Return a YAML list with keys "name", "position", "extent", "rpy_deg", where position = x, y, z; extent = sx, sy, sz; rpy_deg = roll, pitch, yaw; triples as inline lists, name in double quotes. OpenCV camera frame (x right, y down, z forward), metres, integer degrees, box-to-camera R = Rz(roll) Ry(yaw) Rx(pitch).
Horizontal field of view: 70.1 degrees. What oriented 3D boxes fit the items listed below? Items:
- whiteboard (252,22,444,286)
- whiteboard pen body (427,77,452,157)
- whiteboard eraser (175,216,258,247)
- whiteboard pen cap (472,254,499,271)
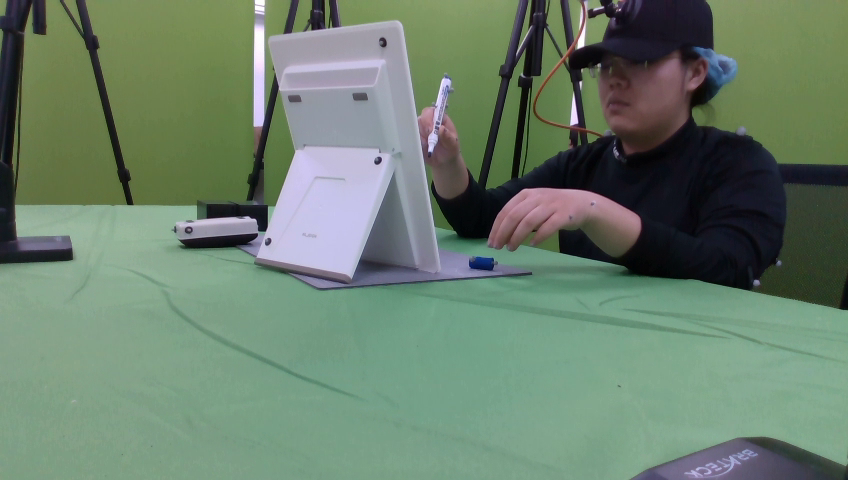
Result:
- name: "whiteboard"
  position: [-0.125, -0.081, 0.714]
  extent: [0.216, 0.305, 0.144]
  rpy_deg: [9, 29, 36]
- name: "whiteboard pen body"
  position: [0.022, -0.185, 0.910]
  extent: [0.017, 0.140, 0.017]
  rpy_deg: [12, -20, 5]
- name: "whiteboard eraser"
  position: [-0.313, -0.012, 0.914]
  extent: [0.113, 0.042, 0.055]
  rpy_deg: [-5, 12, -30]
- name: "whiteboard pen cap"
  position: [0.081, 0.030, 0.799]
  extent: [0.033, 0.018, 0.018]
  rpy_deg: [17, 3, -16]
